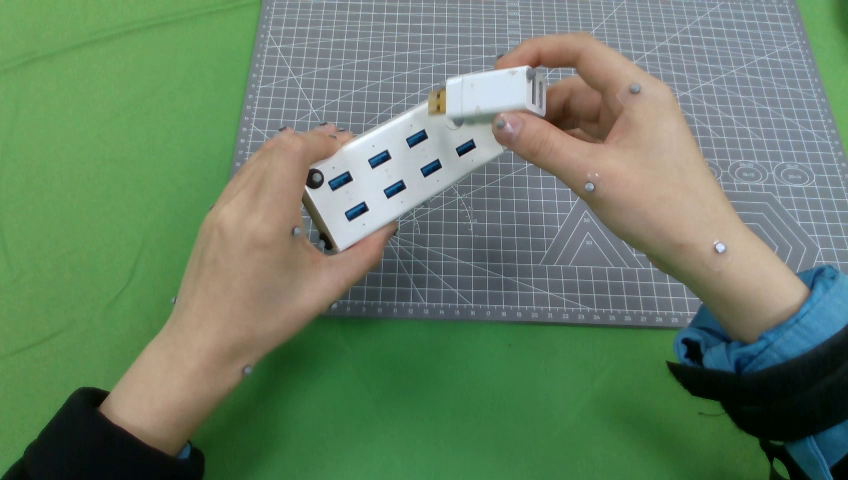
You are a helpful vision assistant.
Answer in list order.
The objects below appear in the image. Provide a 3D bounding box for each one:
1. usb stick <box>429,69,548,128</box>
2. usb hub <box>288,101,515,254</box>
[{"bbox_3d":[0.031,-0.070,0.308,0.059,0.027,0.021,0,91,32],"label":"usb stick"},{"bbox_3d":[-0.010,-0.044,0.342,0.125,0.025,0.050,-32,105,-20],"label":"usb hub"}]
